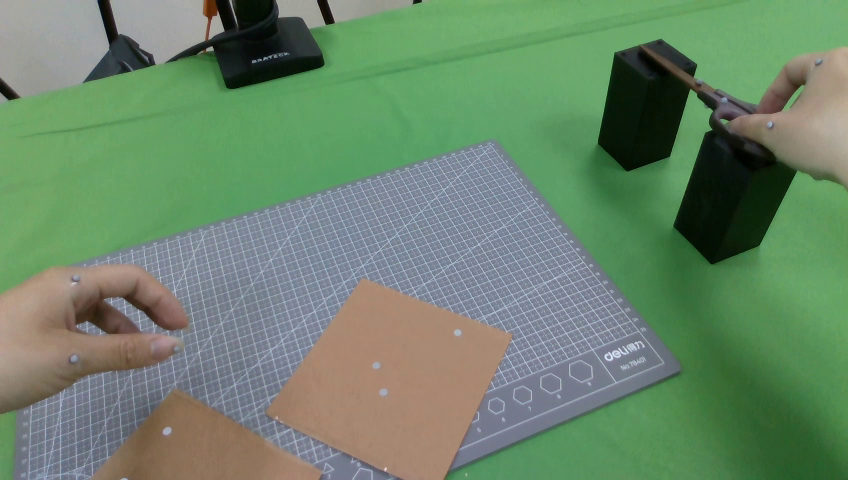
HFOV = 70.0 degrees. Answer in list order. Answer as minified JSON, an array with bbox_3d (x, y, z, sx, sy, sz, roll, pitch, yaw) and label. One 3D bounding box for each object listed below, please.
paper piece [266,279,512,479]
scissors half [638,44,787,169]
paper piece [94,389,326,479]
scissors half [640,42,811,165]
[{"bbox_3d":[-0.022,0.097,0.439,0.134,0.004,0.135,19,51,20],"label":"paper piece"},{"bbox_3d":[0.217,-0.113,0.477,0.040,0.013,0.173,1,43,-24],"label":"scissors half"},{"bbox_3d":[-0.155,0.173,0.379,0.135,0.009,0.137,19,52,25],"label":"paper piece"},{"bbox_3d":[0.234,-0.116,0.486,0.040,0.013,0.173,-17,52,-31],"label":"scissors half"}]
